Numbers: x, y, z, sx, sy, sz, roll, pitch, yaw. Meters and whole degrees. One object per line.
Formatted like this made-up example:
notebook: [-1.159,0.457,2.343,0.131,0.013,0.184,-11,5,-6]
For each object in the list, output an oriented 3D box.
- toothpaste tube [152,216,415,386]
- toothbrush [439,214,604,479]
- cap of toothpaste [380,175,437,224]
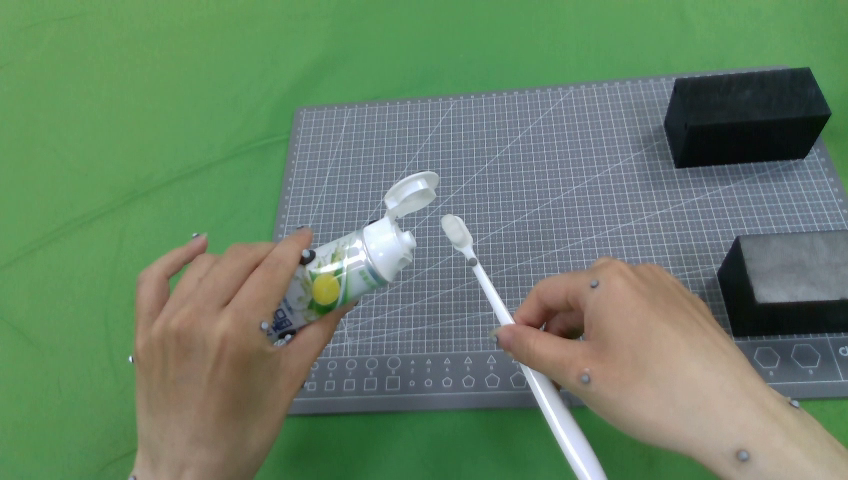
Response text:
toothpaste tube: [-0.081,0.031,0.353,0.165,0.034,0.055,-26,93,10]
toothbrush: [0.052,0.059,0.339,0.014,0.017,0.180,-30,69,7]
cap of toothpaste: [-0.007,-0.023,0.343,0.037,0.037,0.011,-26,68,-8]
